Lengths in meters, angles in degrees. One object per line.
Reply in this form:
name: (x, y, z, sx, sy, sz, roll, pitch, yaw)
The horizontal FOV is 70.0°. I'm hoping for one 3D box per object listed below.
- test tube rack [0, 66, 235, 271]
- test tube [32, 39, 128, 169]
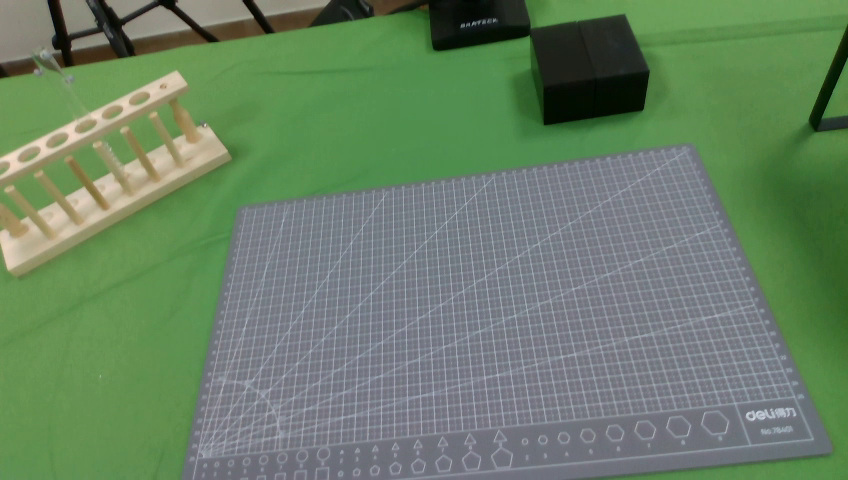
test tube rack: (-0.331, -0.076, 0.622, 0.242, 0.086, 0.066, -33, 54, -15)
test tube: (-0.334, -0.127, 0.598, 0.017, 0.152, 0.017, -5, 47, 6)
